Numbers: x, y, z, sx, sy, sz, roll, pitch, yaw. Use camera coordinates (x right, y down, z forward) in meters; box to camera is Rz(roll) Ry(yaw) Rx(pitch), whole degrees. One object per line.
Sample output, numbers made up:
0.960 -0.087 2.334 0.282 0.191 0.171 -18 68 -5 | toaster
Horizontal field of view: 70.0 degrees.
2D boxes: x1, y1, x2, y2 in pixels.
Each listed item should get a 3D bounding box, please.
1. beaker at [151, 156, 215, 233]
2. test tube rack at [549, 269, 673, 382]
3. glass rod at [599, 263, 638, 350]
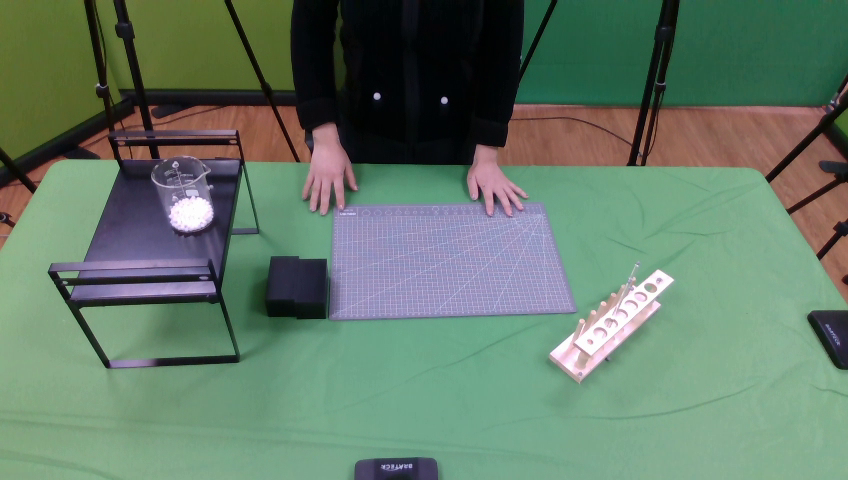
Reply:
-0.364 -0.068 0.933 0.084 0.101 0.073 -11 48 -15 | beaker
0.325 0.134 1.047 0.242 0.085 0.066 -32 56 -30 | test tube rack
0.311 0.112 0.976 0.008 0.200 0.008 4 40 -3 | glass rod
